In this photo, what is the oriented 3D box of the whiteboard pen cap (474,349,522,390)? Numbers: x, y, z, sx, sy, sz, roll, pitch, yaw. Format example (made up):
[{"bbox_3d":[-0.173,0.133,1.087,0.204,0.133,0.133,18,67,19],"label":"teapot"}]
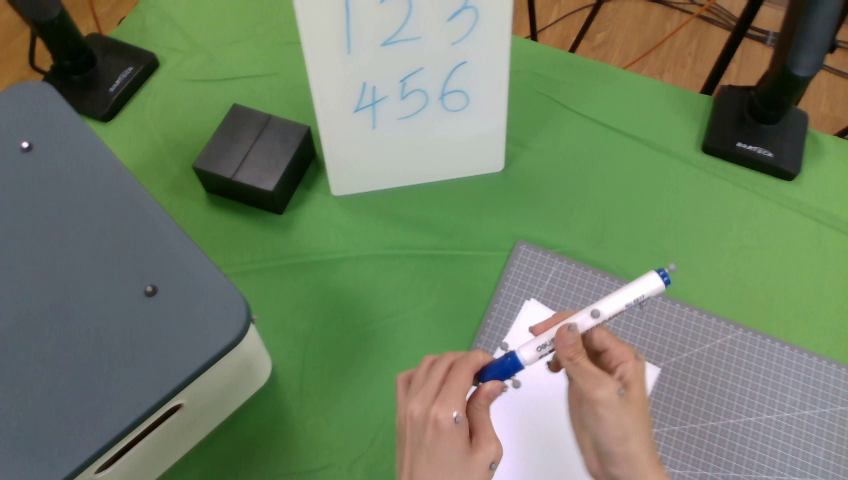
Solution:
[{"bbox_3d":[0.053,0.090,0.425,0.033,0.018,0.018,-26,64,-13],"label":"whiteboard pen cap"}]

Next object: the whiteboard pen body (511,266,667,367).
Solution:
[{"bbox_3d":[0.105,0.059,0.423,0.141,0.017,0.017,-31,64,4],"label":"whiteboard pen body"}]

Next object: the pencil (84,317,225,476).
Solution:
[{"bbox_3d":[-0.264,0.150,0.606,0.012,0.012,0.193,25,52,12],"label":"pencil"}]

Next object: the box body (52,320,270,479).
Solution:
[{"bbox_3d":[-0.352,0.065,0.573,0.361,0.161,0.254,41,68,19],"label":"box body"}]

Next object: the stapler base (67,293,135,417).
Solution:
[{"bbox_3d":[-0.332,0.112,0.616,0.041,0.025,0.129,-4,64,16],"label":"stapler base"}]

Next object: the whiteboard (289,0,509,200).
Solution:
[{"bbox_3d":[-0.029,-0.224,0.690,0.217,0.308,0.142,-9,43,-5],"label":"whiteboard"}]

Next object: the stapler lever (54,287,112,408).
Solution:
[{"bbox_3d":[-0.338,0.103,0.595,0.027,0.040,0.117,-4,63,16],"label":"stapler lever"}]

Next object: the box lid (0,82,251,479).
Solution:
[{"bbox_3d":[-0.353,0.028,0.508,0.369,0.015,0.263,42,69,18],"label":"box lid"}]
